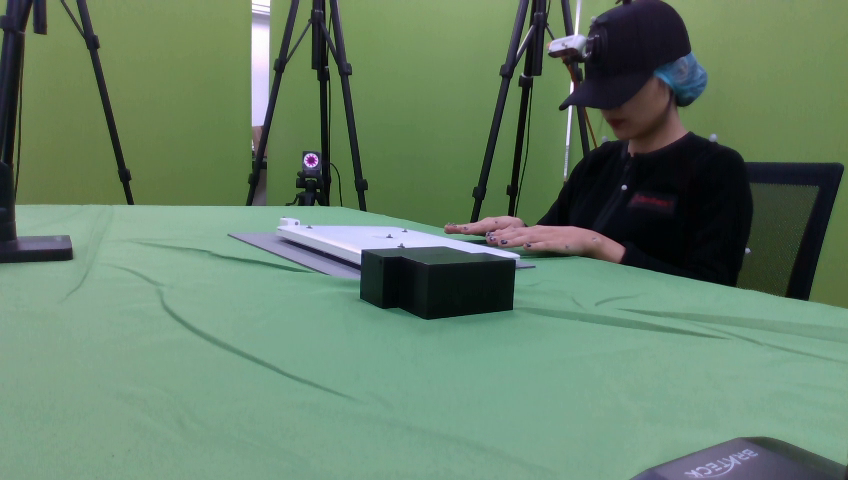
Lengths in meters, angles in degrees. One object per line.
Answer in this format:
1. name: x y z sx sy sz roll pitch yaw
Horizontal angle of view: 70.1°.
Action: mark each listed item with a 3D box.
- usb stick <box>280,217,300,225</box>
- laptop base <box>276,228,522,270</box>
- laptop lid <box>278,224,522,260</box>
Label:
1. usb stick: -0.225 -0.023 1.024 0.021 0.027 0.059 0 9 -31
2. laptop base: -0.054 0.011 0.909 0.237 0.023 0.352 1 6 -33
3. laptop lid: -0.052 -0.001 0.909 0.243 0.013 0.355 0 7 -32
